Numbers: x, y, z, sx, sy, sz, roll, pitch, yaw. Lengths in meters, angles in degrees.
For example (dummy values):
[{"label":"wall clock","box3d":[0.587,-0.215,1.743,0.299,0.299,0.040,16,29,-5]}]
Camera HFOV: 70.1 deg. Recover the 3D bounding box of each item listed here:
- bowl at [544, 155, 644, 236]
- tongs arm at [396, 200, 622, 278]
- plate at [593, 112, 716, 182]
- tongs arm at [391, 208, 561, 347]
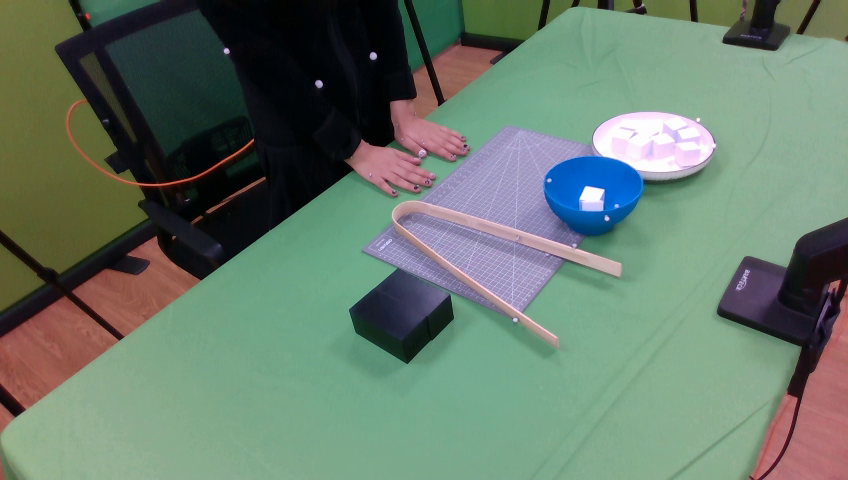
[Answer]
[{"label":"bowl","box3d":[0.266,-0.061,0.957,0.151,0.077,0.150,-5,40,5]},{"label":"tongs arm","box3d":[0.117,-0.002,0.947,0.381,0.026,0.051,22,53,32]},{"label":"plate","box3d":[0.408,-0.163,1.084,0.207,0.039,0.206,-4,40,4]},{"label":"tongs arm","box3d":[0.060,0.045,0.906,0.028,0.028,0.384,-37,47,-19]}]
